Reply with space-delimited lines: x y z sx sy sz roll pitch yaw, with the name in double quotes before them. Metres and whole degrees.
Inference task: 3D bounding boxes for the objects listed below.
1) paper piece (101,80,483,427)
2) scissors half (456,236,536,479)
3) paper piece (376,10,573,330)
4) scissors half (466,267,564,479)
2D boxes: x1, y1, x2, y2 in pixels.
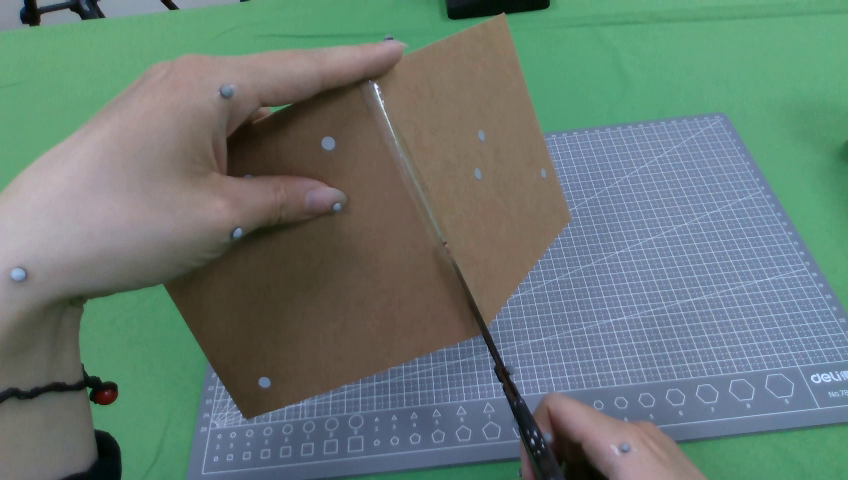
"paper piece" -0.061 0.014 0.290 0.138 0.136 0.008 -23 13 9
"scissors half" 0.045 0.072 0.313 0.013 0.177 0.039 -21 27 2
"paper piece" 0.040 -0.045 0.326 0.004 0.136 0.135 -6 23 39
"scissors half" 0.046 0.076 0.290 0.013 0.040 0.174 -21 83 -3
